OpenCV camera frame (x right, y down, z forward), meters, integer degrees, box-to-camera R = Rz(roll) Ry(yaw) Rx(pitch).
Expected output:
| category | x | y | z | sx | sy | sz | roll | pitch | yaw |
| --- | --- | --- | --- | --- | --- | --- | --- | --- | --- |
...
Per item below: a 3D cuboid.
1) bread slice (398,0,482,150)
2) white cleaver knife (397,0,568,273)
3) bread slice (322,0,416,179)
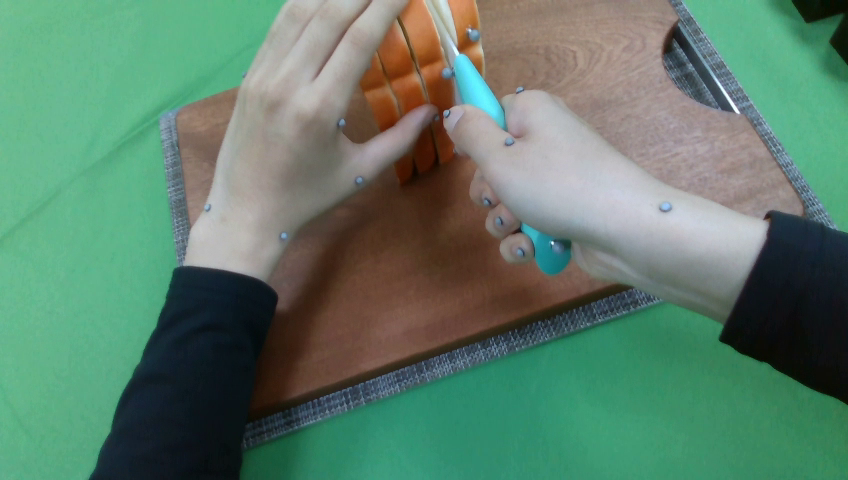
| category | x | y | z | sx | sy | sz | roll | pitch | yaw |
| --- | --- | --- | --- | --- | --- | --- | --- | --- | --- |
| bread slice | 0.009 | -0.137 | 0.405 | 0.019 | 0.132 | 0.104 | -23 | 65 | -8 |
| white cleaver knife | 0.018 | -0.105 | 0.374 | 0.021 | 0.066 | 0.284 | -22 | 67 | -2 |
| bread slice | -0.040 | -0.118 | 0.404 | 0.018 | 0.135 | 0.106 | -24 | 62 | 0 |
